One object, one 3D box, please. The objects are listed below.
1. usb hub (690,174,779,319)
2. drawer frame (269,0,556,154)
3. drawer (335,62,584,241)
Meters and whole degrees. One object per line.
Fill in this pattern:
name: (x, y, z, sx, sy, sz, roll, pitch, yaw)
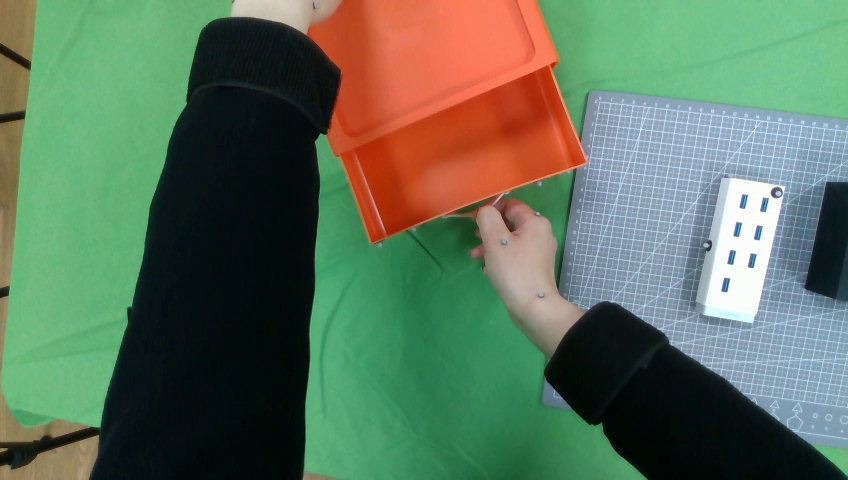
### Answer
usb hub: (0.279, 0.005, 0.547, 0.049, 0.025, 0.125, 9, 98, 3)
drawer frame: (-0.023, -0.205, 0.515, 0.201, 0.082, 0.214, -22, 94, 6)
drawer: (0.008, -0.129, 0.524, 0.194, 0.073, 0.212, -20, 95, 6)
